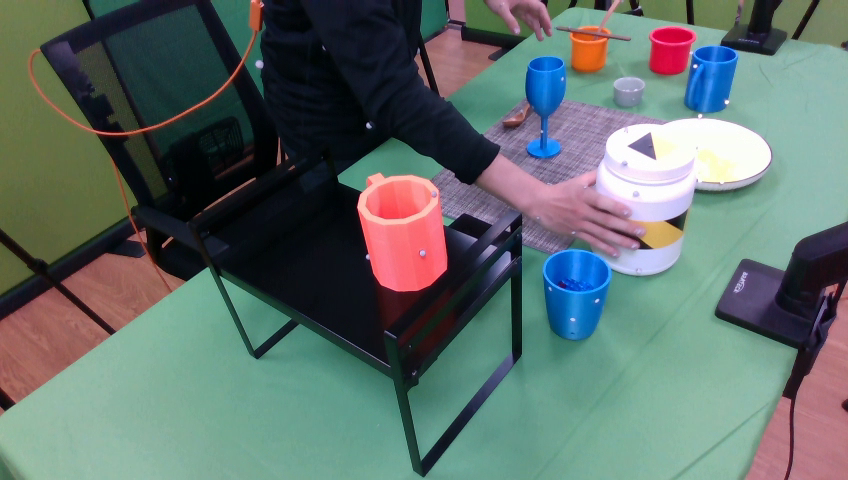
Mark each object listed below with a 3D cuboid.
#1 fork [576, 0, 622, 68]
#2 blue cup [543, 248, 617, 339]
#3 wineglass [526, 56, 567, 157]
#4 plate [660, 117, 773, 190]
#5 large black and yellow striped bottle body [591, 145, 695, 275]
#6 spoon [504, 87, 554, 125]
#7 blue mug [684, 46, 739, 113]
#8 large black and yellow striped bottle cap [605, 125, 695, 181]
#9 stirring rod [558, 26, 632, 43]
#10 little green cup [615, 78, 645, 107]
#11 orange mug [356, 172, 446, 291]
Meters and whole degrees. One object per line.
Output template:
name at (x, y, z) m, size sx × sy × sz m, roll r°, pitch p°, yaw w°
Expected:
fork at (0.409, -0.484, 1.381) m, size 0.028 × 0.019 × 0.207 m, roll 37°, pitch 101°, yaw 45°
blue cup at (0.199, 0.076, 0.797) m, size 0.092 × 0.100 × 0.092 m, roll -4°, pitch 39°, yaw 4°
wineglass at (0.222, -0.241, 1.102) m, size 0.074 × 0.173 × 0.073 m, roll -5°, pitch 41°, yaw 4°
plate at (0.495, -0.148, 1.063) m, size 0.209 × 0.038 × 0.208 m, roll -5°, pitch 40°, yaw 4°
large black and yellow striped bottle body at (0.313, -0.056, 0.870) m, size 0.131 × 0.185 × 0.130 m, roll -4°, pitch 40°, yaw 4°
spoon at (0.227, -0.285, 1.269) m, size 0.041 × 0.022 × 0.194 m, roll 1°, pitch 36°, yaw 45°
blue mug at (0.556, -0.310, 1.190) m, size 0.117 × 0.106 × 0.081 m, roll -32°, pitch 46°, yaw -25°
large black and yellow striped bottle cap at (0.304, -0.120, 0.817) m, size 0.115 × 0.019 × 0.114 m, roll -3°, pitch 41°, yaw 3°
stirring rod at (0.381, -0.462, 1.356) m, size 0.175 × 0.006 × 0.014 m, roll 23°, pitch 49°, yaw 29°
little green cup at (0.426, -0.306, 1.257) m, size 0.061 × 0.039 × 0.061 m, roll -4°, pitch 40°, yaw 4°
orange mug at (-0.030, -0.018, 0.669) m, size 0.084 × 0.101 × 0.125 m, roll -23°, pitch 47°, yaw -16°
